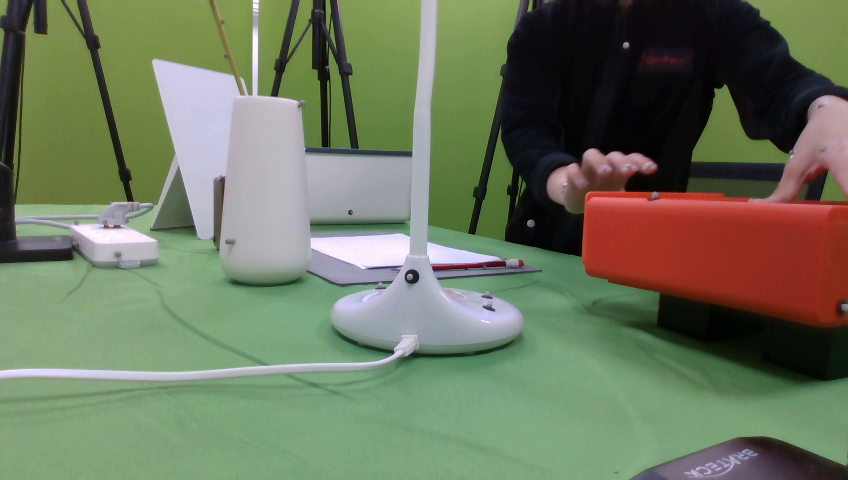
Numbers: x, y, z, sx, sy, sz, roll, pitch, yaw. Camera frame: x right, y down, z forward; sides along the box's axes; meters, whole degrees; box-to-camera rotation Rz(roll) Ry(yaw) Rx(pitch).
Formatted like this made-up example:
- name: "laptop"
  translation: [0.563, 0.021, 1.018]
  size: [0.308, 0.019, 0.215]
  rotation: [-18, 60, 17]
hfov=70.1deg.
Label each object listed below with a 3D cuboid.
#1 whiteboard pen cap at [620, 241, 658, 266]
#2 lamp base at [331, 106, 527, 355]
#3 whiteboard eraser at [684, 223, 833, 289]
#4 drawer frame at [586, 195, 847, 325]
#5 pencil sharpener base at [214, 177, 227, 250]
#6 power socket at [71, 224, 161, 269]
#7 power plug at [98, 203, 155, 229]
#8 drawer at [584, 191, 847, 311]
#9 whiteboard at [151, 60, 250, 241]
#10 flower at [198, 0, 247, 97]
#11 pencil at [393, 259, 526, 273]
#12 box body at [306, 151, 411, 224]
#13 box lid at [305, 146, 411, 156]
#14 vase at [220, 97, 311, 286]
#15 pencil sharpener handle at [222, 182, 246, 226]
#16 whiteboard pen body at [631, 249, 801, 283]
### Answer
- name: "whiteboard pen cap"
  translation: [0.199, 0.013, 0.557]
  size: [0.018, 0.018, 0.033]
  rotation: [-4, 18, -40]
- name: "lamp base"
  translation: [0.006, -0.012, 0.478]
  size: [0.161, 0.180, 0.179]
  rotation: [2, 10, 2]
- name: "whiteboard eraser"
  translation: [0.305, 0.013, 0.558]
  size: [0.056, 0.042, 0.112]
  rotation: [-9, 19, -31]
- name: "drawer frame"
  translation: [0.284, 0.004, 0.508]
  size: [0.203, 0.082, 0.212]
  rotation: [-1, 6, -28]
- name: "pencil sharpener base"
  translation: [-0.265, -0.036, 0.870]
  size: [0.061, 0.107, 0.076]
  rotation: [-2, 8, -29]
- name: "power socket"
  translation: [-0.408, 0.004, 0.793]
  size: [0.072, 0.032, 0.225]
  rotation: [-2, 8, -38]
- name: "power plug"
  translation: [-0.416, -0.026, 0.848]
  size: [0.073, 0.052, 0.035]
  rotation: [1, 8, -28]
- name: "drawer"
  translation: [0.280, 0.000, 0.513]
  size: [0.195, 0.073, 0.211]
  rotation: [-1, 8, -28]
- name: "whiteboard"
  translation: [-0.408, -0.139, 1.093]
  size: [0.143, 0.305, 0.218]
  rotation: [-15, 0, 25]
- name: "flower"
  translation: [-0.187, -0.133, 0.648]
  size: [0.038, 0.362, 0.044]
  rotation: [-1, 22, 43]
- name: "pencil"
  translation: [0.049, 0.035, 0.782]
  size: [0.195, 0.012, 0.012]
  rotation: [-2, 9, -25]
- name: "box body"
  translation: [-0.230, -0.126, 1.370]
  size: [0.366, 0.160, 0.253]
  rotation: [-2, 8, -33]
- name: "box lid"
  translation: [-0.229, -0.200, 1.360]
  size: [0.373, 0.015, 0.262]
  rotation: [-3, 9, -33]
- name: "vase"
  translation: [-0.172, -0.052, 0.662]
  size: [0.098, 0.200, 0.098]
  rotation: [3, 8, 0]
- name: "pencil sharpener handle"
  translation: [-0.289, -0.055, 0.912]
  size: [0.036, 0.067, 0.030]
  rotation: [-3, 9, -29]
- name: "whiteboard pen body"
  translation: [0.239, 0.019, 0.512]
  size: [0.017, 0.017, 0.140]
  rotation: [-4, 8, -41]
